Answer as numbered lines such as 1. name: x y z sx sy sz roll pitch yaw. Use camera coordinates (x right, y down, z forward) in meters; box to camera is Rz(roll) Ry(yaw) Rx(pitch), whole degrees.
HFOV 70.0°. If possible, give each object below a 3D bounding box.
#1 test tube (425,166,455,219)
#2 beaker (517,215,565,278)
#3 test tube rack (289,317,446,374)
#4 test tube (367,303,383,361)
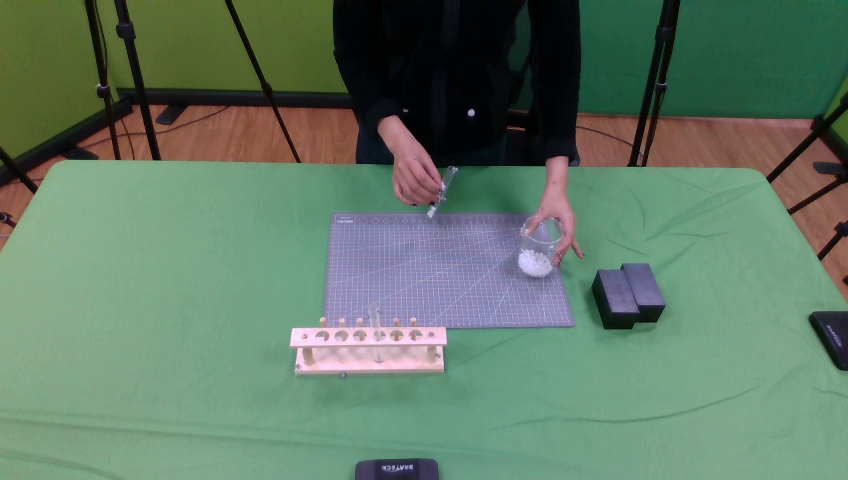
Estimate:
1. test tube: 0.028 -0.086 1.131 0.017 0.151 0.017 10 53 -13
2. beaker: 0.211 0.015 1.121 0.084 0.101 0.073 -7 45 -10
3. test tube rack: -0.089 0.167 0.987 0.242 0.085 0.066 0 46 -4
4. test tube: -0.075 0.146 0.941 0.017 0.151 0.017 0 49 0
